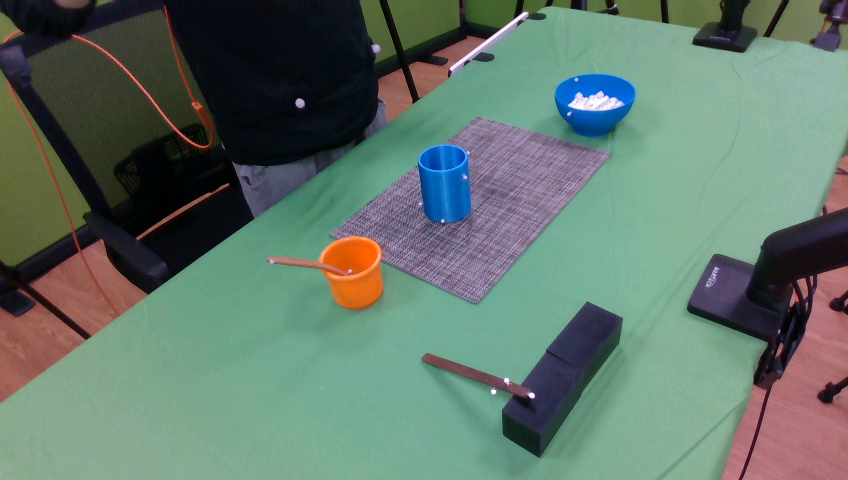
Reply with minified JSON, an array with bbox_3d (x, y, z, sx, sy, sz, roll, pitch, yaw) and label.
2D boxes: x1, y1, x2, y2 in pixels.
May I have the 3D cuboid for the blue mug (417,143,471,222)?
[{"bbox_3d":[0.031,-0.104,1.014,0.082,0.106,0.115,-14,41,-7],"label":"blue mug"}]

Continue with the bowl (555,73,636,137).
[{"bbox_3d":[0.328,-0.253,1.172,0.151,0.077,0.150,-4,41,4],"label":"bowl"}]

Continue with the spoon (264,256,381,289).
[{"bbox_3d":[-0.136,0.042,0.842,0.021,0.195,0.041,-56,46,13],"label":"spoon"}]

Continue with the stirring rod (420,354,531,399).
[{"bbox_3d":[0.058,0.164,0.738,0.174,0.006,0.014,8,42,46],"label":"stirring rod"}]
